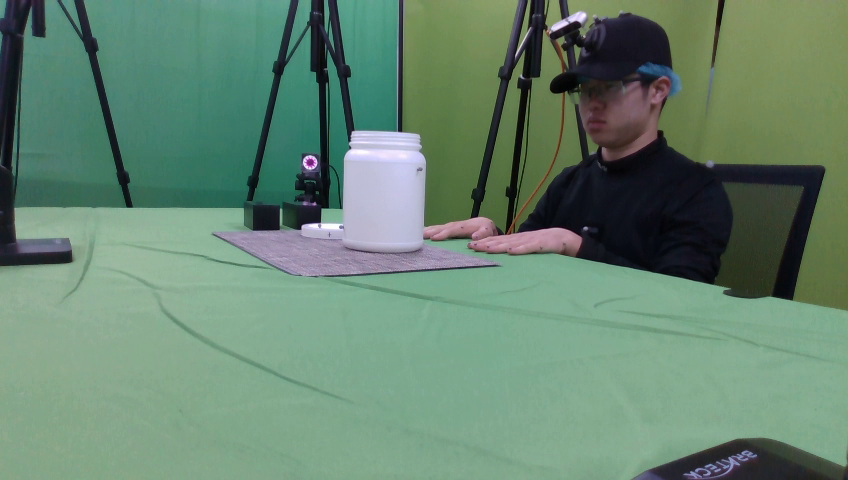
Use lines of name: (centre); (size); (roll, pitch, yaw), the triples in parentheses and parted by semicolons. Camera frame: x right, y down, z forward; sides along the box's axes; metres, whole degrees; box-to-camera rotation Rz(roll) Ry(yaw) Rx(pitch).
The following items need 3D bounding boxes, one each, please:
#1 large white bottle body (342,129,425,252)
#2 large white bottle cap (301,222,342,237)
large white bottle body: (-0.064, -0.080, 0.958); (0.131, 0.184, 0.130); (2, 8, 0)
large white bottle cap: (-0.167, -0.019, 1.103); (0.115, 0.018, 0.115); (2, 7, 0)
